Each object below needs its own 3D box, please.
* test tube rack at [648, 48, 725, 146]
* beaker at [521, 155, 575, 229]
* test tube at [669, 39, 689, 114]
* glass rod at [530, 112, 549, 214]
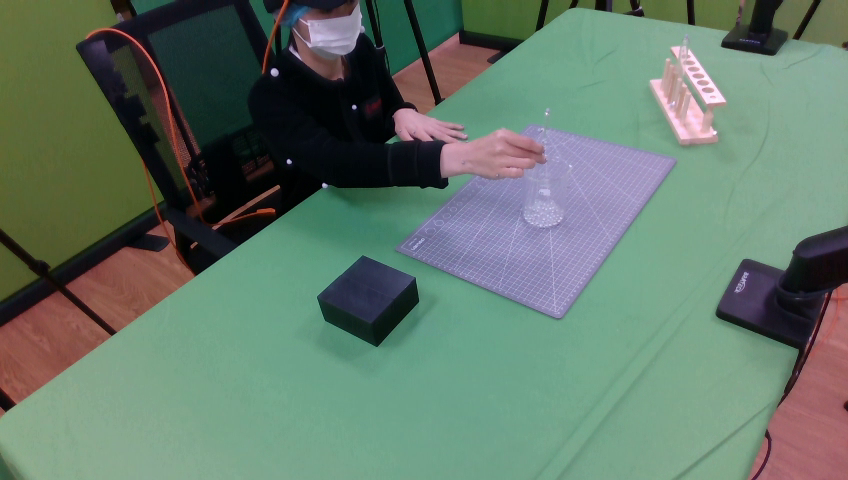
[{"bbox_3d":[0.508,-0.285,1.186,0.067,0.085,0.241,-4,40,6],"label":"test tube rack"},{"bbox_3d":[0.197,-0.075,0.969,0.084,0.101,0.073,-6,40,2],"label":"beaker"},{"bbox_3d":[0.482,-0.308,1.146,0.017,0.151,0.017,-5,42,5],"label":"test tube"},{"bbox_3d":[0.177,-0.113,0.933,0.008,0.200,0.008,0,46,1],"label":"glass rod"}]
